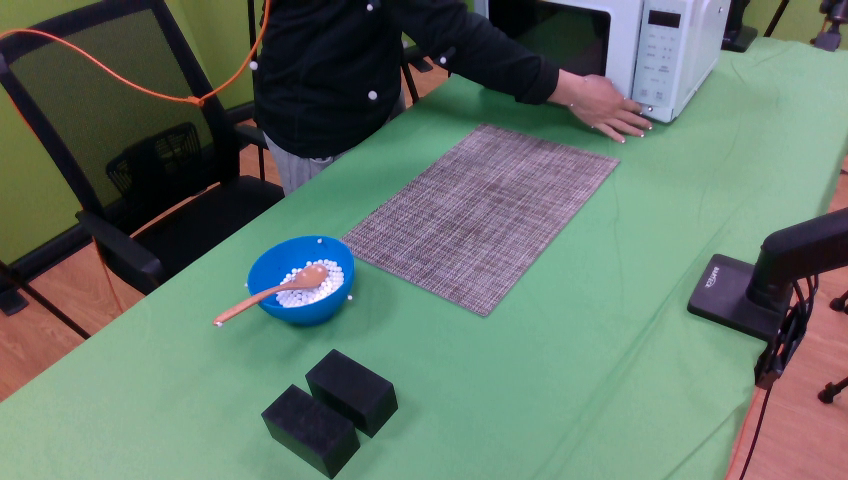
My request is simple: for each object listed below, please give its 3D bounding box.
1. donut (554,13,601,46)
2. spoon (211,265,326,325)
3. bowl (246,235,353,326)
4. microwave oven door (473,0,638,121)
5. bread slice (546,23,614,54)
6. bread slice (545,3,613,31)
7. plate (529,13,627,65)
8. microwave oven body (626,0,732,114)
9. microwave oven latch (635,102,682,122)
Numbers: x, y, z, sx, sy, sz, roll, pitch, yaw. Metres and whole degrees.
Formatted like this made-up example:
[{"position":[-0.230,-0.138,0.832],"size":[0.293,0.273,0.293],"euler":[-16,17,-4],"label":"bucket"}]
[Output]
[{"position":[0.328,-0.452,1.296],"size":[0.099,0.048,0.098],"euler":[-5,46,6],"label":"donut"},{"position":[-0.207,0.072,0.822],"size":[0.041,0.021,0.195],"euler":[27,29,26],"label":"spoon"},{"position":[-0.170,0.070,0.868],"size":[0.151,0.077,0.150],"euler":[-4,41,4],"label":"bowl"},{"position":[0.249,-0.388,1.192],"size":[0.353,0.245,0.039],"euler":[25,50,32],"label":"microwave oven door"},{"position":[0.341,-0.439,1.311],"size":[0.135,0.018,0.106],"euler":[-11,47,-10],"label":"bread slice"},{"position":[0.331,-0.476,1.282],"size":[0.131,0.019,0.104],"euler":[-9,37,1],"label":"bread slice"},{"position":[0.333,-0.433,1.316],"size":[0.207,0.039,0.206],"euler":[-5,42,5],"label":"plate"},{"position":[0.377,-0.463,1.267],"size":[0.438,0.261,0.327],"euler":[21,49,30],"label":"microwave oven body"},{"position":[0.448,-0.251,1.159],"size":[0.030,0.029,0.078],"euler":[-37,48,-29],"label":"microwave oven latch"}]
